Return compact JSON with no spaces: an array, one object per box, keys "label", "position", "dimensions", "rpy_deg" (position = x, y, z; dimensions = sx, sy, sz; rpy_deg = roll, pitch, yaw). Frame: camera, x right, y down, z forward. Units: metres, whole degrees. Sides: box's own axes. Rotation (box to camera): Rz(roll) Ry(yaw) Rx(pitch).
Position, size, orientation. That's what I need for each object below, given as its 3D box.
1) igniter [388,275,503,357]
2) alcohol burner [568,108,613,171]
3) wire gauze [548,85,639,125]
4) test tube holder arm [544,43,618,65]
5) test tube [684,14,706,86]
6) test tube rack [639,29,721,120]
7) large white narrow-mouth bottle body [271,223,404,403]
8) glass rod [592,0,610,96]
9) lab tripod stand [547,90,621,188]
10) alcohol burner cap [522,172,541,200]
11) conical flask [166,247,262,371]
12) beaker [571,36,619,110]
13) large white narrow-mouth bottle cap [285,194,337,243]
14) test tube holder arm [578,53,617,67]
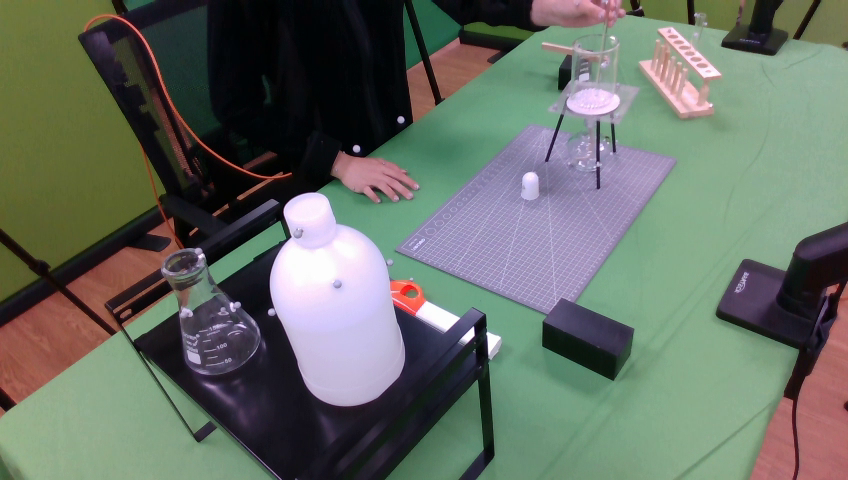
[{"label":"igniter","position":[-0.008,0.093,0.870],"dimensions":[0.274,0.025,0.057],"rpy_deg":[24,60,33]},{"label":"alcohol burner","position":[0.296,-0.182,1.074],"dimensions":[0.078,0.119,0.077],"rpy_deg":[-5,43,5]},{"label":"wire gauze","position":[0.286,-0.233,1.020],"dimensions":[0.124,0.011,0.122],"rpy_deg":[15,43,30]},{"label":"test tube holder arm","position":[0.345,-0.413,1.341],"dimensions":[0.177,0.015,0.013],"rpy_deg":[26,49,32]},{"label":"test tube","position":[0.541,-0.378,1.215],"dimensions":[0.017,0.151,0.017],"rpy_deg":[-2,44,3]},{"label":"test tube rack","position":[0.527,-0.351,1.262],"dimensions":[0.067,0.085,0.241],"rpy_deg":[-8,40,1]},{"label":"large white narrow-mouth bottle body","position":[-0.077,0.048,0.525],"dimensions":[0.102,0.195,0.101],"rpy_deg":[-5,40,4]},{"label":"glass rod","position":[0.279,-0.317,0.944],"dimensions":[0.008,0.200,0.008],"rpy_deg":[-2,40,2]},{"label":"lab tripod stand","position":[0.289,-0.184,1.062],"dimensions":[0.148,0.132,0.147],"rpy_deg":[-6,41,6]},{"label":"alcohol burner cap","position":[0.186,-0.096,1.047],"dimensions":[0.034,0.048,0.033],"rpy_deg":[-5,39,4]},{"label":"conical flask","position":[-0.209,0.064,0.584],"dimensions":[0.075,0.122,0.075],"rpy_deg":[-5,40,4]},{"label":"beaker","position":[0.280,-0.273,0.992],"dimensions":[0.084,0.101,0.073],"rpy_deg":[-24,42,-16]},{"label":"large white narrow-mouth bottle cap","position":[-0.087,-0.017,0.468],"dimensions":[0.038,0.024,0.037],"rpy_deg":[-4,40,4]},{"label":"test tube holder arm","position":[0.376,-0.394,1.314],"dimensions":[0.087,0.015,0.010],"rpy_deg":[26,49,32]}]
